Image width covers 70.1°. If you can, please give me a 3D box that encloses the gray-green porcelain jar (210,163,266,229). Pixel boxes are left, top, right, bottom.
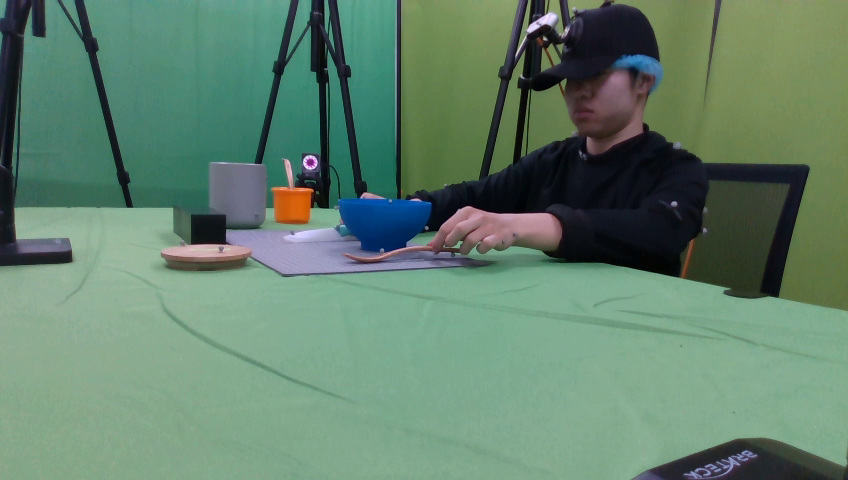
[{"bbox_3d":[-0.367,-0.088,1.195,0.106,0.126,0.106,3,8,0],"label":"gray-green porcelain jar"}]

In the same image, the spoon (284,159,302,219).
[{"bbox_3d":[-0.302,-0.118,1.370,0.042,0.193,0.021,4,-39,-24],"label":"spoon"}]

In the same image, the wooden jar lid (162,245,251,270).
[{"bbox_3d":[-0.278,0.022,0.777,0.108,0.020,0.108,2,6,0],"label":"wooden jar lid"}]

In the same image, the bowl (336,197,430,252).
[{"bbox_3d":[-0.066,-0.024,0.967,0.151,0.077,0.151,3,7,0],"label":"bowl"}]

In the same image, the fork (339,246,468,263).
[{"bbox_3d":[-0.023,0.019,0.862,0.208,0.018,0.028,-5,3,-31],"label":"fork"}]

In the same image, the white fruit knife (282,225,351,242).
[{"bbox_3d":[-0.149,-0.014,1.046,0.208,0.027,0.016,-7,-9,-38],"label":"white fruit knife"}]
